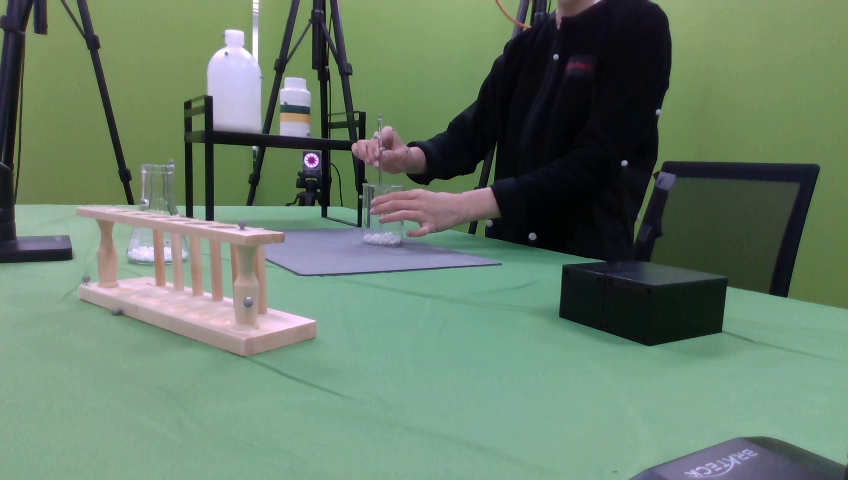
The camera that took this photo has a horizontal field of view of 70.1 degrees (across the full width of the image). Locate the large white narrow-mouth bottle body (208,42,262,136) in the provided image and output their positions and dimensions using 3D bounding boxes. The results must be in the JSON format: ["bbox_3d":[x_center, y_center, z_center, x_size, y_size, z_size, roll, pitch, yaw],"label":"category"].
[{"bbox_3d":[-0.368,-0.304,1.181,0.102,0.194,0.101,2,9,0],"label":"large white narrow-mouth bottle body"}]

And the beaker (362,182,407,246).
[{"bbox_3d":[-0.066,-0.043,0.993,0.074,0.100,0.084,1,8,-7],"label":"beaker"}]

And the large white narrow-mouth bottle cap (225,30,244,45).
[{"bbox_3d":[-0.365,-0.389,1.166,0.038,0.024,0.037,2,9,0],"label":"large white narrow-mouth bottle cap"}]

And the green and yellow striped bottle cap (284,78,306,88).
[{"bbox_3d":[-0.268,-0.325,1.259,0.045,0.020,0.045,5,7,0],"label":"green and yellow striped bottle cap"}]

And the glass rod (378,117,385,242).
[{"bbox_3d":[-0.069,-0.095,0.964,0.008,0.199,0.008,-1,6,0],"label":"glass rod"}]

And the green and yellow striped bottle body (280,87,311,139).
[{"bbox_3d":[-0.269,-0.274,1.266,0.063,0.119,0.063,3,7,0],"label":"green and yellow striped bottle body"}]

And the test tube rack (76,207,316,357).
[{"bbox_3d":[-0.196,0.023,0.500,0.241,0.085,0.067,8,9,36],"label":"test tube rack"}]

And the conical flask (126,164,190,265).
[{"bbox_3d":[-0.332,-0.033,0.756,0.075,0.122,0.075,2,7,0],"label":"conical flask"}]
